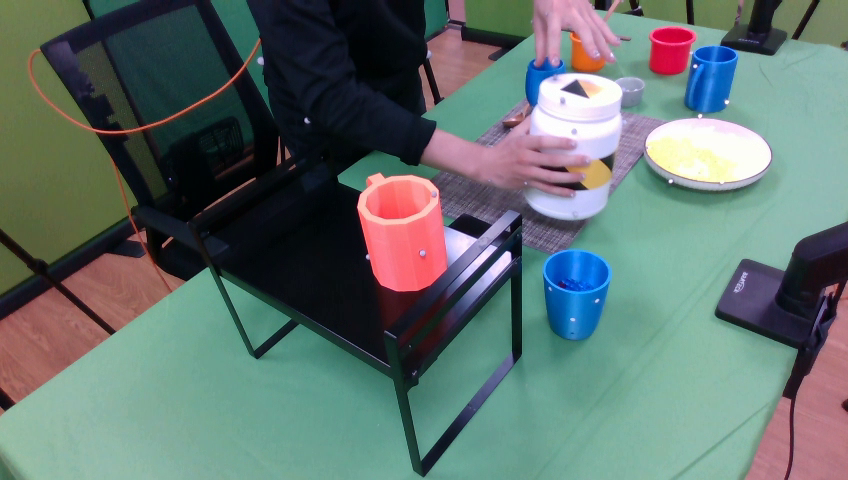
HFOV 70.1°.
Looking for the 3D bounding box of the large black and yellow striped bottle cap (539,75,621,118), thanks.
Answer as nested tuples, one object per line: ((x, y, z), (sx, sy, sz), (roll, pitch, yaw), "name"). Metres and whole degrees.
((0.222, -0.207, 0.863), (0.115, 0.019, 0.114), (1, 37, 0), "large black and yellow striped bottle cap")

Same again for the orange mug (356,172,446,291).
((-0.030, -0.018, 0.669), (0.084, 0.101, 0.125), (-23, 47, -16), "orange mug")

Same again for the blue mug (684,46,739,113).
((0.556, -0.311, 1.190), (0.117, 0.106, 0.081), (-32, 46, -25), "blue mug")

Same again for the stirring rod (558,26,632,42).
((0.381, -0.462, 1.356), (0.175, 0.006, 0.014), (22, 48, 30), "stirring rod")

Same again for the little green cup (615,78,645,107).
((0.426, -0.306, 1.257), (0.061, 0.039, 0.061), (-4, 40, 4), "little green cup")

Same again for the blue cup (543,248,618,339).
((0.199, 0.076, 0.797), (0.092, 0.100, 0.092), (-4, 39, 4), "blue cup")

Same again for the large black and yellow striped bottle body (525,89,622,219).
((0.224, -0.139, 0.912), (0.131, 0.184, 0.130), (0, 37, 1), "large black and yellow striped bottle body")

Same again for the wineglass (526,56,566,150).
((0.222, -0.241, 1.102), (0.074, 0.173, 0.073), (-4, 41, 4), "wineglass")

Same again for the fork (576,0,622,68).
((0.409, -0.484, 1.381), (0.028, 0.019, 0.207), (37, 101, 46), "fork")

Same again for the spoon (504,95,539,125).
((0.227, -0.284, 1.269), (0.041, 0.022, 0.194), (2, 36, 44), "spoon")

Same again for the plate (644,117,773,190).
((0.495, -0.149, 1.063), (0.209, 0.038, 0.208), (-5, 40, 4), "plate")
